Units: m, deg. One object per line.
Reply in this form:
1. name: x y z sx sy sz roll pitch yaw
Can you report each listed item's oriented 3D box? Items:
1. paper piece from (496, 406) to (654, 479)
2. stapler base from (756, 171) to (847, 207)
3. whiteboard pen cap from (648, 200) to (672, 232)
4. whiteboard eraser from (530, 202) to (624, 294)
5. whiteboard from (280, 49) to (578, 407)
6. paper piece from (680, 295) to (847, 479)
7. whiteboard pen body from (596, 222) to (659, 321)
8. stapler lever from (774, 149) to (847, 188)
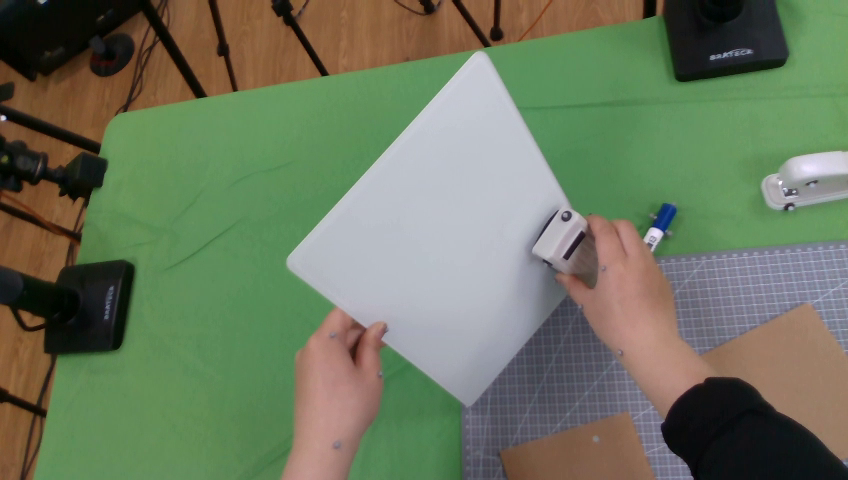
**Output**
1. paper piece: 0.153 0.246 0.582 0.135 0.004 0.134 -20 65 8
2. stapler base: 0.415 -0.067 0.620 0.130 0.024 0.041 -11 70 9
3. whiteboard pen cap: 0.252 -0.025 0.650 0.018 0.018 0.033 25 77 23
4. whiteboard eraser: 0.151 0.009 0.601 0.055 0.114 0.041 -53 43 5
5. whiteboard: 0.007 -0.012 0.591 0.217 0.309 0.142 -47 44 -4
6. paper piece: 0.338 0.142 0.570 0.136 0.009 0.137 -29 67 9
7. whiteboard pen body: 0.221 0.023 0.641 0.017 0.017 0.140 28 80 23
8. stapler lever: 0.411 -0.075 0.599 0.118 0.040 0.026 -12 70 11
